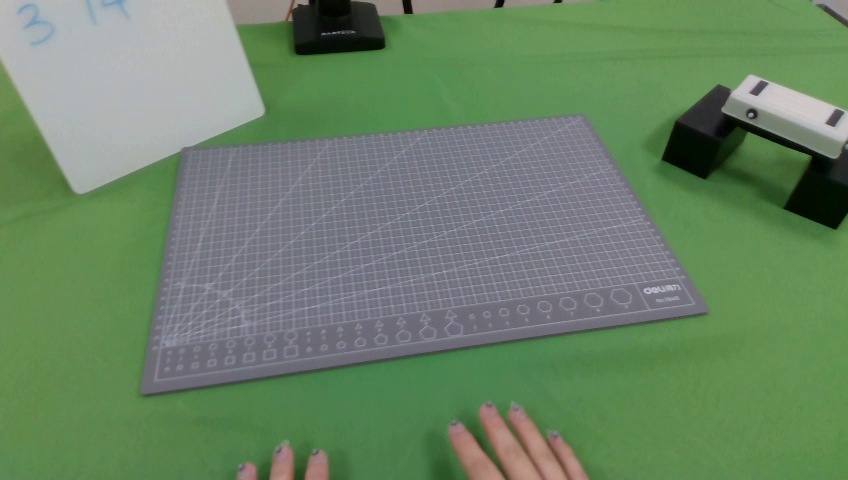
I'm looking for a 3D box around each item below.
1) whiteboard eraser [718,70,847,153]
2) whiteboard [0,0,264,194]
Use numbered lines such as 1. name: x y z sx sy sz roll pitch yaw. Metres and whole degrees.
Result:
1. whiteboard eraser: 0.350 -0.123 0.589 0.112 0.042 0.055 32 52 26
2. whiteboard: -0.336 -0.241 0.610 0.217 0.308 0.142 -34 36 -29
